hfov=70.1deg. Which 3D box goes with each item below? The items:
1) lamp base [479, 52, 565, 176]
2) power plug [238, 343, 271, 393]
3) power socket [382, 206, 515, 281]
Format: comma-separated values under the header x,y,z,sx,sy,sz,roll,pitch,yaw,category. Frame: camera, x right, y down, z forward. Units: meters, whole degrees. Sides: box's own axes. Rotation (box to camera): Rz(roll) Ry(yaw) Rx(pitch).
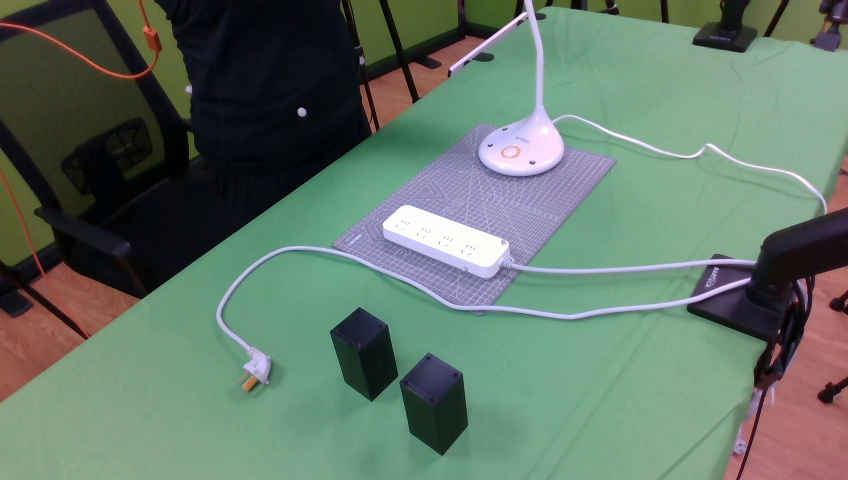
x,y,z,sx,sy,sz,roll,pitch,yaw,category
0.181,-0.235,1.093,0.159,0.181,0.179,18,44,27,lamp base
-0.230,0.172,0.801,0.072,0.035,0.053,9,50,50,power plug
0.032,0.002,0.950,0.225,0.033,0.072,21,49,29,power socket
